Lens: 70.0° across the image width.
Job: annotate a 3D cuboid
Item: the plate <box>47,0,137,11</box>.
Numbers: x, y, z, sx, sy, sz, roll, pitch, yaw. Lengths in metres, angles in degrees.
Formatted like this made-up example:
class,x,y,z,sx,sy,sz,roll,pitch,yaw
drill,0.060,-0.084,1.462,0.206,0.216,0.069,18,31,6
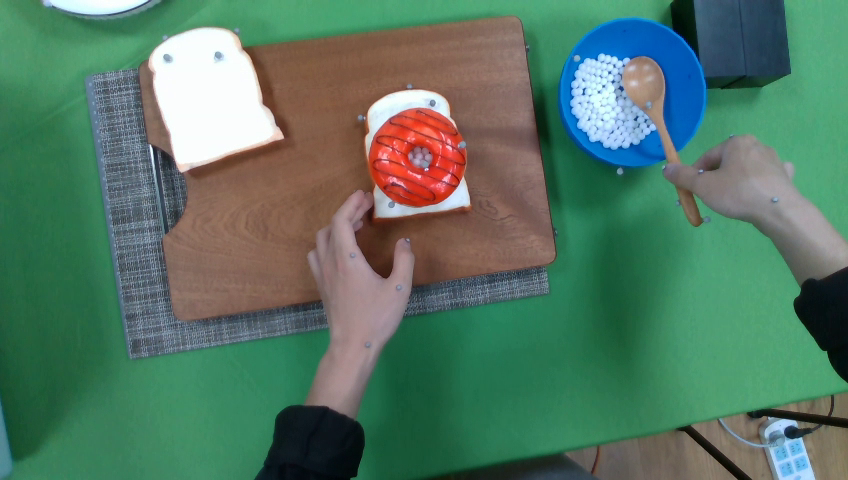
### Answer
class,x,y,z,sx,sy,sz,roll,pitch,yaw
plate,-0.341,-0.335,0.620,0.208,0.039,0.207,0,90,-4

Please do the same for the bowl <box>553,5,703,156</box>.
class,x,y,z,sx,sy,sz,roll,pitch,yaw
bowl,0.203,-0.158,0.639,0.151,0.077,0.151,0,90,-4

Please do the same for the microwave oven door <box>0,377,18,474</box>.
class,x,y,z,sx,sy,sz,roll,pitch,yaw
microwave oven door,-0.452,0.054,0.490,0.039,0.243,0.355,-12,90,-4

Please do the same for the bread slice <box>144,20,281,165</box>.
class,x,y,z,sx,sy,sz,roll,pitch,yaw
bread slice,-0.219,-0.151,0.607,0.107,0.018,0.134,-24,90,-5

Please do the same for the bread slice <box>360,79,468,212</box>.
class,x,y,z,sx,sy,sz,roll,pitch,yaw
bread slice,-0.015,-0.099,0.624,0.105,0.019,0.131,-10,92,-5

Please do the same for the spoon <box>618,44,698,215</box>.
class,x,y,z,sx,sy,sz,roll,pitch,yaw
spoon,0.237,-0.114,0.607,0.041,0.022,0.192,-15,67,12

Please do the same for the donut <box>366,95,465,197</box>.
class,x,y,z,sx,sy,sz,roll,pitch,yaw
donut,-0.008,-0.091,0.594,0.099,0.048,0.099,0,91,-4
